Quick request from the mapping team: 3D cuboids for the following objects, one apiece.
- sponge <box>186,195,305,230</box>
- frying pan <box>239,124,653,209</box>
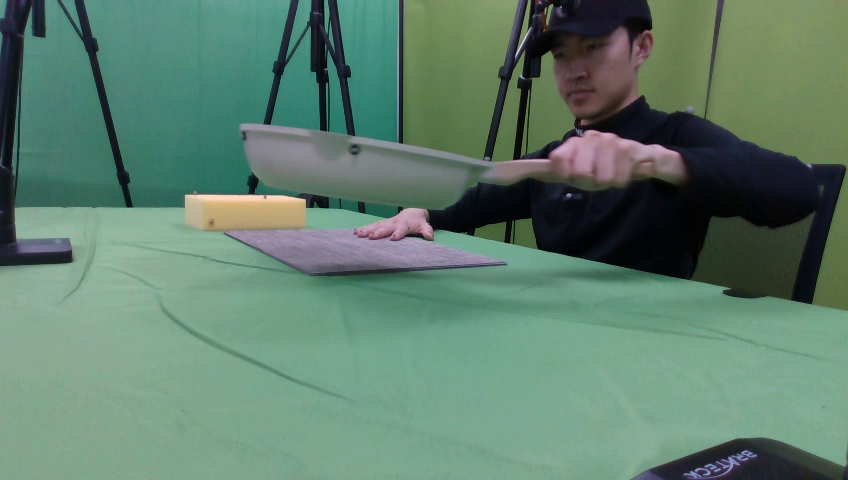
[{"bbox_3d":[-0.358,-0.057,1.219,0.208,0.061,0.117,-3,9,-37],"label":"sponge"},{"bbox_3d":[0.024,-0.088,0.731,0.487,0.102,0.307,0,5,8],"label":"frying pan"}]
